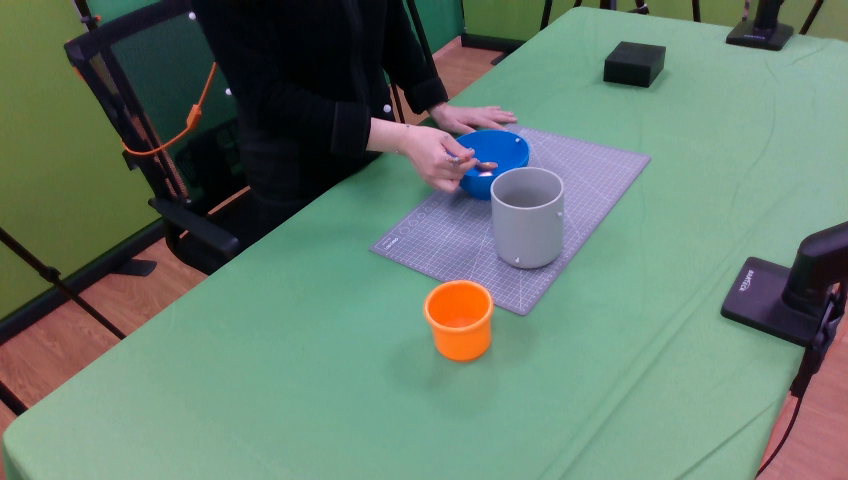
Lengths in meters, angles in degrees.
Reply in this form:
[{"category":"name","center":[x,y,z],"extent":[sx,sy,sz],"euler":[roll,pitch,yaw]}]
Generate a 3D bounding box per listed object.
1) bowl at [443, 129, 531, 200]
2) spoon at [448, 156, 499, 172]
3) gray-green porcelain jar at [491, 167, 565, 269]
[{"category":"bowl","center":[0.113,-0.124,1.063],"extent":[0.151,0.077,0.150],"euler":[-6,40,5]},{"category":"spoon","center":[0.078,-0.127,0.982],"extent":[0.041,0.021,0.195],"euler":[9,3,24]},{"category":"gray-green porcelain jar","center":[0.157,-0.029,0.904],"extent":[0.106,0.127,0.105],"euler":[-6,40,5]}]
